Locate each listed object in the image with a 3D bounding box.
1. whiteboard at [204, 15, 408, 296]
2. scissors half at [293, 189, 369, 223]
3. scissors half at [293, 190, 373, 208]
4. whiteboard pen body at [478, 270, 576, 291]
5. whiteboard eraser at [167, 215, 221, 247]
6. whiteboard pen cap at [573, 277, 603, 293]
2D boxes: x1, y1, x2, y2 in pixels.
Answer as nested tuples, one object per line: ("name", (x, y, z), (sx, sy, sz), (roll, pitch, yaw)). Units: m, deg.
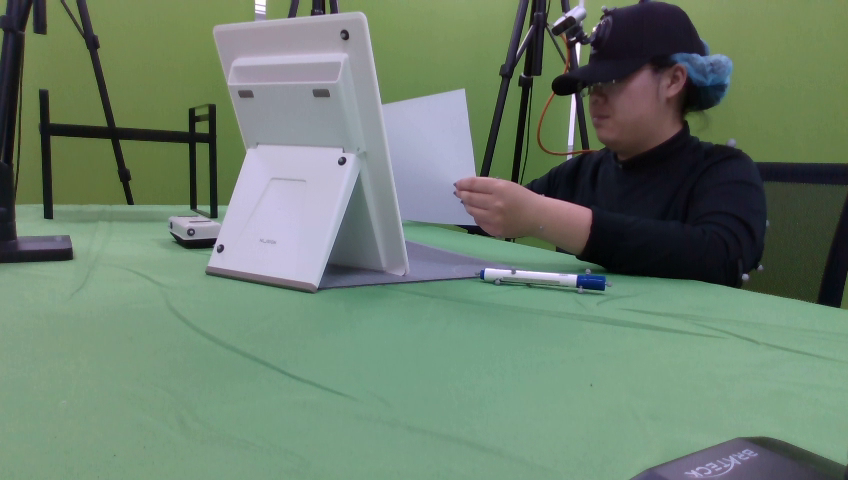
("whiteboard", (-0.166, -0.072, 0.669), (0.216, 0.305, 0.144), (8, 30, 30))
("scissors half", (-0.205, -0.078, 1.338), (0.175, 0.040, 0.013), (23, 13, -9))
("scissors half", (-0.200, -0.097, 1.332), (0.175, 0.040, 0.013), (5, 20, -4))
("whiteboard pen body", (0.131, 0.048, 0.706), (0.140, 0.017, 0.017), (4, 7, 18))
("whiteboard eraser", (-0.350, -0.014, 0.920), (0.056, 0.042, 0.112), (0, 7, -35))
("whiteboard pen cap", (0.186, 0.051, 0.687), (0.033, 0.018, 0.018), (4, 8, 17))
